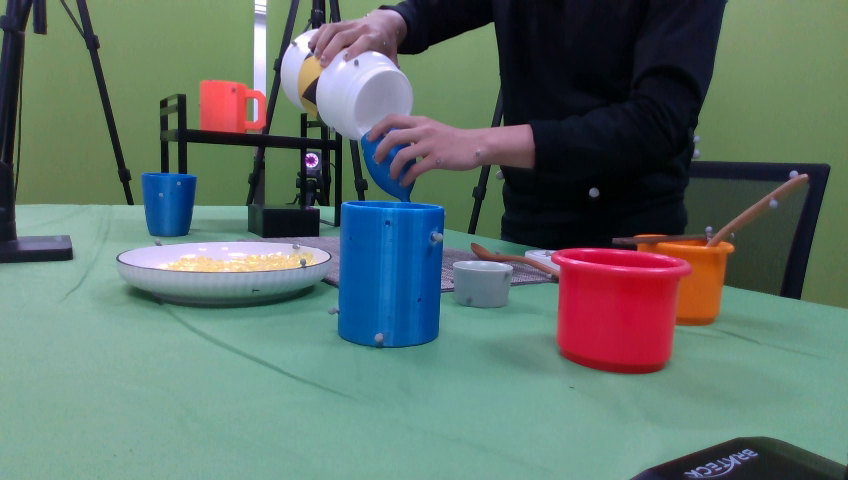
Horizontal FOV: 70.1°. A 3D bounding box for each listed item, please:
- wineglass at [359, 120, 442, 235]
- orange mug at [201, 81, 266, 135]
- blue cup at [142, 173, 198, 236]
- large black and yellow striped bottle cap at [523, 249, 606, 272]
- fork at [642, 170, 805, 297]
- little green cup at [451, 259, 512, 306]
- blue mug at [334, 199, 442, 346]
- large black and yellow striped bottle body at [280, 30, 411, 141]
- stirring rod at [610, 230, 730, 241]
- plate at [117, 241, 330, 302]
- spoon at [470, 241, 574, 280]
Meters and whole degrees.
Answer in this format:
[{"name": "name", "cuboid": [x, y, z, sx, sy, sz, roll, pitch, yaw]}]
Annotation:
[{"name": "wineglass", "cuboid": [-0.034, -0.077, 0.848, 0.074, 0.172, 0.074, -20, -11, -4]}, {"name": "orange mug", "cuboid": [-0.377, -0.260, 1.198, 0.126, 0.101, 0.083, -3, 8, -6]}, {"name": "blue cup", "cuboid": [-0.425, -0.060, 1.014, 0.093, 0.100, 0.092, 4, 9, 0]}, {"name": "large black and yellow striped bottle cap", "cuboid": [0.198, 0.028, 0.851, 0.115, 0.019, 0.115, 5, 5, 0]}, {"name": "fork", "cuboid": [0.261, 0.004, 0.545, 0.028, 0.018, 0.207, 5, -37, -15]}, {"name": "little green cup", "cuboid": [0.057, 0.043, 0.611, 0.061, 0.038, 0.061, 3, 8, 0]}, {"name": "blue mug", "cuboid": [-0.034, 0.020, 0.498, 0.083, 0.106, 0.116, 0, 7, -19]}, {"name": "large black and yellow striped bottle body", "cuboid": [-0.117, -0.231, 0.912, 0.131, 0.130, 0.183, -5, 31, -45]}, {"name": "stirring rod", "cuboid": [0.241, -0.005, 0.582, 0.177, 0.006, 0.014, -3, 10, -34]}, {"name": "plate", "cuboid": [-0.203, 0.031, 0.630, 0.209, 0.038, 0.209, 3, 7, 0]}, {"name": "spoon", "cuboid": [0.124, 0.025, 0.800, 0.042, 0.021, 0.192, 24, -7, -34]}]
